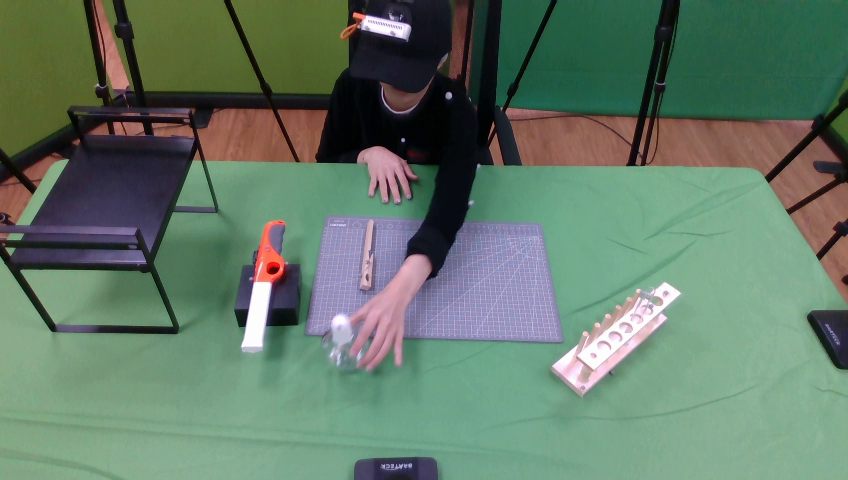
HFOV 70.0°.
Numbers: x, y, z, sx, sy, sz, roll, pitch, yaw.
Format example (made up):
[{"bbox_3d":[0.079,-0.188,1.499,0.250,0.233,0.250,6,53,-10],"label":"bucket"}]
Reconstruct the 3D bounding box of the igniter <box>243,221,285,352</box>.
[{"bbox_3d":[-0.273,0.069,1.041,0.057,0.025,0.274,2,48,-5],"label":"igniter"}]

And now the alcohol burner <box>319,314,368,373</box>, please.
[{"bbox_3d":[-0.127,0.155,0.947,0.078,0.120,0.077,-1,47,1],"label":"alcohol burner"}]

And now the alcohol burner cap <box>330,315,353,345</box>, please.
[{"bbox_3d":[-0.127,0.134,0.923,0.034,0.048,0.033,-2,48,2],"label":"alcohol burner cap"}]

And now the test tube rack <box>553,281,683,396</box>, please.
[{"bbox_3d":[0.329,0.153,1.023,0.242,0.085,0.066,-30,54,-28],"label":"test tube rack"}]

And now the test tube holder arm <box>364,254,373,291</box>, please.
[{"bbox_3d":[-0.104,0.058,1.132,0.010,0.015,0.087,28,37,-27],"label":"test tube holder arm"}]

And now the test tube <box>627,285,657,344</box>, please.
[{"bbox_3d":[0.349,0.124,0.983,0.017,0.151,0.017,0,49,0],"label":"test tube"}]

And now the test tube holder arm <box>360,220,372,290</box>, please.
[{"bbox_3d":[-0.110,0.024,1.161,0.013,0.015,0.177,28,37,-27],"label":"test tube holder arm"}]
